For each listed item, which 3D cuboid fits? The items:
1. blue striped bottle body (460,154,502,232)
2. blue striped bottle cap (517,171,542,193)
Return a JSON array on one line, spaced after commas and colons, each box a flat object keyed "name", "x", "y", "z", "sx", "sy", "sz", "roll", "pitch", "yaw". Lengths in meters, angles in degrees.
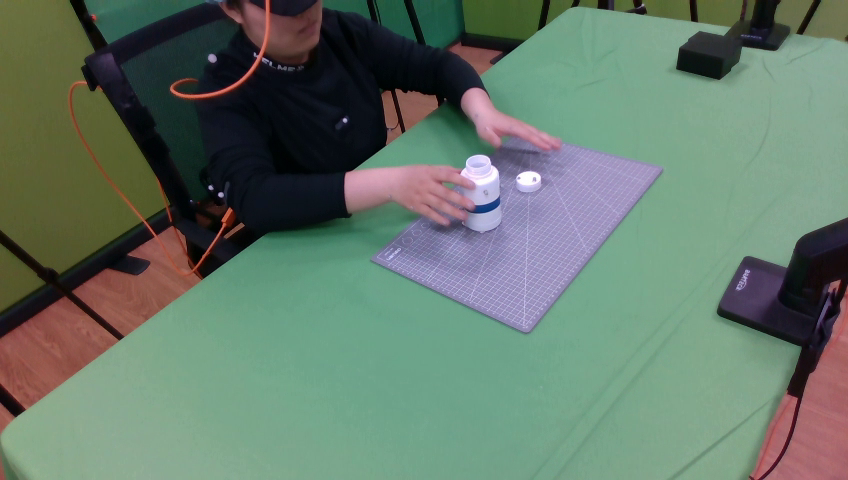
[{"name": "blue striped bottle body", "x": 0.092, "y": -0.078, "z": 0.976, "sx": 0.063, "sy": 0.121, "sz": 0.063, "roll": -6, "pitch": 40, "yaw": 5}, {"name": "blue striped bottle cap", "x": 0.187, "y": -0.103, "z": 1.072, "sx": 0.044, "sy": 0.021, "sz": 0.044, "roll": -4, "pitch": 42, "yaw": 4}]
